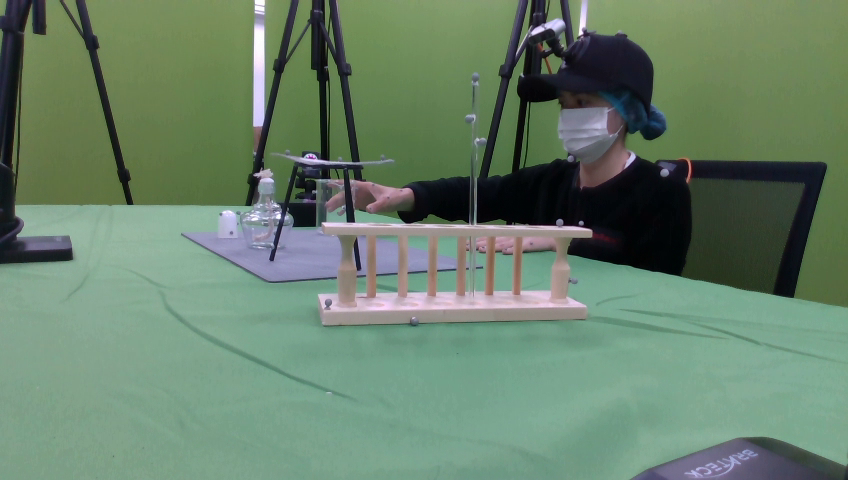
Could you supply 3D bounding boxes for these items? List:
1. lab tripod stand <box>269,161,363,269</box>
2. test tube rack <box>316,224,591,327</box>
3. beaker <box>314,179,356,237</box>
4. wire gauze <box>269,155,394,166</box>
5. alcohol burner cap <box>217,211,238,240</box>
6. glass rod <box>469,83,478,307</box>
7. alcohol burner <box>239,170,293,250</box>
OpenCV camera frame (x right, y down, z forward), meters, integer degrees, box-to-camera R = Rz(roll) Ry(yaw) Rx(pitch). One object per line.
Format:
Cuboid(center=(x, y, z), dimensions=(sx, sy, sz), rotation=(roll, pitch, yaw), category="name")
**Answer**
Cuboid(center=(-0.125, -0.036, 0.794), dimensions=(0.148, 0.131, 0.148), rotation=(5, 7, 0), category="lab tripod stand")
Cuboid(center=(0.026, 0.028, 0.555), dimensions=(0.243, 0.085, 0.066), rotation=(1, 7, -14), category="test tube rack")
Cuboid(center=(-0.162, -0.058, 1.094), dimensions=(0.074, 0.100, 0.083), rotation=(0, 9, -20), category="beaker")
Cuboid(center=(-0.121, -0.102, 0.785), dimensions=(0.122, 0.011, 0.124), rotation=(-3, 10, -39), category="wire gauze")
Cuboid(center=(-0.323, -0.024, 0.994), dimensions=(0.034, 0.048, 0.034), rotation=(3, 8, 0), category="alcohol burner cap")
Cuboid(center=(0.043, -0.033, 0.523), dimensions=(0.008, 0.199, 0.008), rotation=(-1, 14, 1), category="glass rod")
Cuboid(center=(-0.237, -0.045, 0.904), dimensions=(0.078, 0.119, 0.078), rotation=(1, 8, 0), category="alcohol burner")
